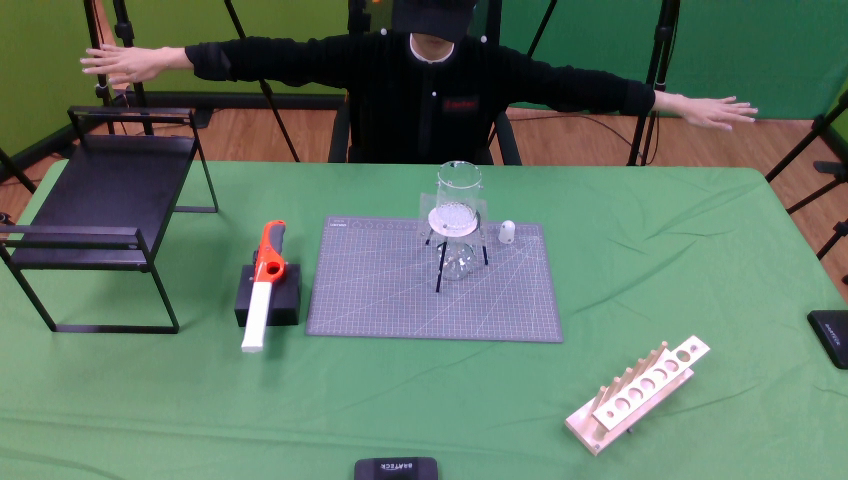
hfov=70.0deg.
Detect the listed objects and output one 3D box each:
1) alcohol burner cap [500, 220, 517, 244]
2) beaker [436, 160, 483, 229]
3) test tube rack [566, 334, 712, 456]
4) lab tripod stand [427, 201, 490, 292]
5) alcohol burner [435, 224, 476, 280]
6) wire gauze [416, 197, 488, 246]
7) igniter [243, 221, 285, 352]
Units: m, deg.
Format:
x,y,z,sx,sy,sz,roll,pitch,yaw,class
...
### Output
x,y,z,sx,sy,sz,roll,pitch,yaw,class
0.170,-0.018,1.205,0.034,0.048,0.033,1,46,0,alcohol burner cap
0.057,-0.077,1.032,0.074,0.101,0.083,-4,44,-8,beaker
0.339,0.228,0.951,0.242,0.085,0.066,-26,52,-26,test tube rack
0.053,0.003,1.114,0.148,0.132,0.147,0,46,0,lab tripod stand
0.060,0.017,1.114,0.078,0.119,0.077,3,44,-2,alcohol burner
0.050,-0.037,1.062,0.125,0.011,0.121,3,42,4,wire gauze
-0.273,0.069,1.041,0.057,0.025,0.274,2,48,-6,igniter
